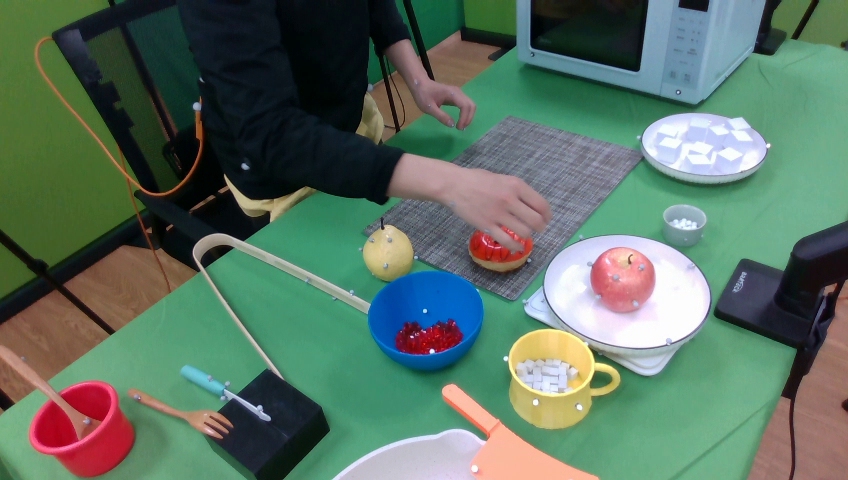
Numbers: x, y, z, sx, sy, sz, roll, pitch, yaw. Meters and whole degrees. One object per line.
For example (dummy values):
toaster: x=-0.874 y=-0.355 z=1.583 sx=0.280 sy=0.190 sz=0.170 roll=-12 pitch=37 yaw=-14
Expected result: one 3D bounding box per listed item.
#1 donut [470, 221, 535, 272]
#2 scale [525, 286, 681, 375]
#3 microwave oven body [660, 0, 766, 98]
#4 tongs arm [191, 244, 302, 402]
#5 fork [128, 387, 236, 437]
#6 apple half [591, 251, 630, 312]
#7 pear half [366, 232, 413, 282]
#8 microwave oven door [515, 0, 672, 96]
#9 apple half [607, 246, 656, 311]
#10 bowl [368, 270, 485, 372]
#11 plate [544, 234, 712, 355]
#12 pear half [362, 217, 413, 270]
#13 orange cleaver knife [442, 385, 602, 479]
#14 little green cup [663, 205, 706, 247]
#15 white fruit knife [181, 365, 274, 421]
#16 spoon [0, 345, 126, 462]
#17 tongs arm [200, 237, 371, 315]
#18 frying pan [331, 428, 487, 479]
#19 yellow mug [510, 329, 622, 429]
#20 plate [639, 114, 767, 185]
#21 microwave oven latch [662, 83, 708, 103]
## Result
donut: x=0.119 y=0.009 z=0.923 sx=0.099 sy=0.048 sz=0.098 roll=-4 pitch=38 yaw=4
scale: x=0.254 y=0.091 z=0.821 sx=0.199 sy=0.032 sz=0.149 roll=27 pitch=51 yaw=35
microwave oven body: x=0.472 y=-0.513 z=1.317 sx=0.438 sy=0.261 sz=0.327 roll=26 pitch=51 yaw=34
tongs arm: x=-0.269 y=0.108 z=0.880 sx=0.028 sy=0.028 sz=0.384 roll=-35 pitch=45 yaw=-19
fork: x=-0.305 y=0.207 z=0.744 sx=0.206 sy=0.019 sz=0.028 roll=3 pitch=40 yaw=35
apple half: x=0.231 y=0.058 z=0.772 sx=0.033 sy=0.081 sz=0.080 roll=-9 pitch=40 yaw=-7
pear half: x=-0.048 y=0.031 z=0.893 sx=0.071 sy=0.088 sz=0.031 roll=-16 pitch=40 yaw=-13
microwave oven door: x=0.343 y=-0.455 z=1.259 sx=0.353 sy=0.245 sz=0.039 roll=26 pitch=51 yaw=33
apple half: x=0.269 y=0.049 z=0.777 sx=0.053 sy=0.075 sz=0.080 roll=-10 pitch=38 yaw=-6
bowl: x=0.007 y=0.119 z=0.791 sx=0.151 sy=0.077 sz=0.150 roll=-5 pitch=39 yaw=4
plate: x=0.262 y=0.072 z=0.792 sx=0.209 sy=0.038 sz=0.208 roll=-4 pitch=41 yaw=4
pear half: x=-0.059 y=0.002 z=0.913 sx=0.076 sy=0.110 sz=0.055 roll=-14 pitch=40 yaw=-13
orange cleaver knife: x=0.086 y=0.219 z=0.612 sx=0.209 sy=0.012 sz=0.077 roll=28 pitch=49 yaw=35
little green cup: x=0.396 y=-0.021 z=0.926 sx=0.061 sy=0.039 sz=0.061 roll=-4 pitch=40 yaw=4
white fruit knife: x=-0.246 y=0.188 z=0.747 sx=0.205 sy=0.027 sz=0.016 roll=9 pitch=41 yaw=41
spoon: x=-0.434 y=0.192 z=0.720 sx=0.194 sy=0.021 sz=0.042 roll=47 pitch=53 yaw=-6
tongs arm: x=-0.209 y=0.062 z=0.924 sx=0.381 sy=0.026 sz=0.051 roll=22 pitch=51 yaw=32
frying pan: x=-0.089 y=0.306 z=0.564 sx=0.487 sy=0.103 sz=0.306 roll=10 pitch=41 yaw=7
yellow mug: x=0.168 y=0.164 z=0.721 sx=0.130 sy=0.064 sz=0.099 roll=0 pitch=40 yaw=8
plate: x=0.489 y=-0.157 z=1.074 sx=0.207 sy=0.039 sz=0.206 roll=-4 pitch=40 yaw=4
microwave oven latch: x=0.518 y=-0.296 z=1.204 sx=0.078 sy=0.029 sz=0.030 roll=28 pitch=52 yaw=35
